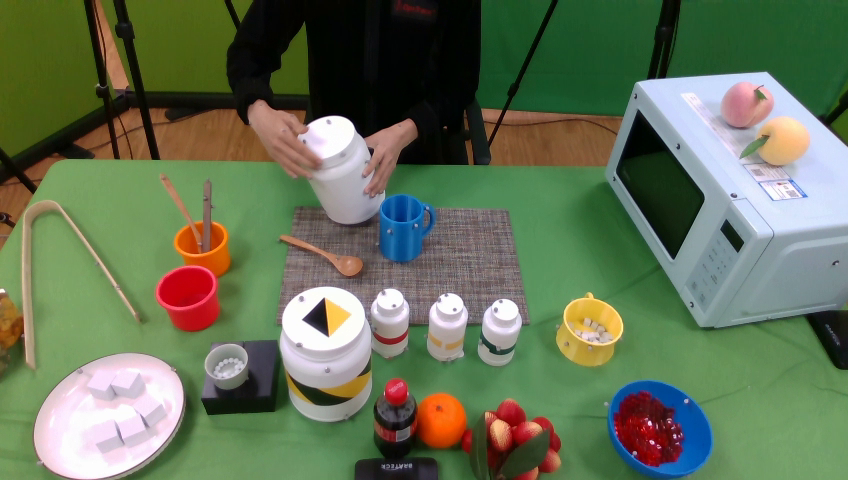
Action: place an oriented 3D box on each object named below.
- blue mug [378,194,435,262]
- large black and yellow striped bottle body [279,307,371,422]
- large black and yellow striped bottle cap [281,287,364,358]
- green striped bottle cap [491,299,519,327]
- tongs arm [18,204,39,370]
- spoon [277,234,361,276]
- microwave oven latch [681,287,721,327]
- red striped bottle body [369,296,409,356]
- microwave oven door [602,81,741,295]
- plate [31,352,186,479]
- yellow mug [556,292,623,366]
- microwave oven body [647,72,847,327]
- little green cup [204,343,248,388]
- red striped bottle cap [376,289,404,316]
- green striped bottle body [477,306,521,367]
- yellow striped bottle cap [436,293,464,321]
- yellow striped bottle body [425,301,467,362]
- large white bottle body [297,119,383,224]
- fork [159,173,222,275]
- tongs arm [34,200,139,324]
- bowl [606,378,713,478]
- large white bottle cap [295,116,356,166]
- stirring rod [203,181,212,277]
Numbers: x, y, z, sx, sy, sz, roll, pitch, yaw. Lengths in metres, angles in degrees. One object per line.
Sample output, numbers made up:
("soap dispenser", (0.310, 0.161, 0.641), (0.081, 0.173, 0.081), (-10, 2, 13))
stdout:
("blue mug", (-0.032, -0.028, 1.160), (0.116, 0.106, 0.082), (-19, 51, -21))
("large black and yellow striped bottle body", (-0.145, 0.173, 0.907), (0.131, 0.185, 0.130), (2, 46, -2))
("large black and yellow striped bottle cap", (-0.141, 0.112, 0.847), (0.115, 0.019, 0.114), (5, 45, -4))
("green striped bottle cap", (0.128, 0.115, 0.958), (0.044, 0.020, 0.044), (1, 47, -1))
("tongs arm", (-0.698, 0.069, 1.069), (0.028, 0.028, 0.385), (-20, 50, -13))
("spoon", (-0.202, 0.023, 1.155), (0.193, 0.022, 0.041), (23, 69, 18))
("microwave oven latch", (0.494, 0.119, 1.087), (0.030, 0.029, 0.078), (-6, 46, -9))
("red striped bottle body", (-0.058, 0.134, 0.997), (0.063, 0.120, 0.062), (4, 47, -4))
("microwave oven door", (0.456, -0.107, 1.162), (0.039, 0.245, 0.353), (-7, 47, -11))
("plate", (-0.459, 0.262, 0.898), (0.209, 0.038, 0.208), (2, 46, -2))
("yellow mug", (0.285, 0.145, 1.051), (0.100, 0.064, 0.130), (7, 45, 3))
("microwave oven body", (0.607, -0.089, 1.164), (0.326, 0.261, 0.438), (-7, 46, -10))
("little green cup", (-0.294, 0.190, 0.909), (0.061, 0.039, 0.061), (1, 48, 0))
("red striped bottle cap", (-0.054, 0.098, 0.958), (0.044, 0.018, 0.044), (0, 48, 1))
("green striped bottle body", (0.124, 0.151, 0.995), (0.063, 0.120, 0.063), (2, 46, -2))
("yellow striped bottle cap", (0.041, 0.106, 0.959), (0.044, 0.019, 0.044), (-1, 50, 1))
("yellow striped bottle body", (0.037, 0.142, 0.996), (0.063, 0.121, 0.062), (3, 46, -2))
("large white bottle body", (-0.164, -0.133, 1.177), (0.130, 0.186, 0.130), (-7, 52, 10))
("fork", (-0.427, -0.029, 1.103), (0.028, 0.018, 0.207), (-31, 99, -31))
("tongs arm", (-0.622, 0.034, 1.105), (0.051, 0.026, 0.382), (-32, 56, -25))
("bowl", (0.340, 0.292, 0.906), (0.151, 0.077, 0.150), (2, 46, -2))
("large white bottle cap", (-0.181, -0.183, 1.112), (0.115, 0.018, 0.114), (-7, 52, 10))
("stirring rod", (-0.396, -0.021, 1.108), (0.014, 0.006, 0.176), (-1, 89, -1))
